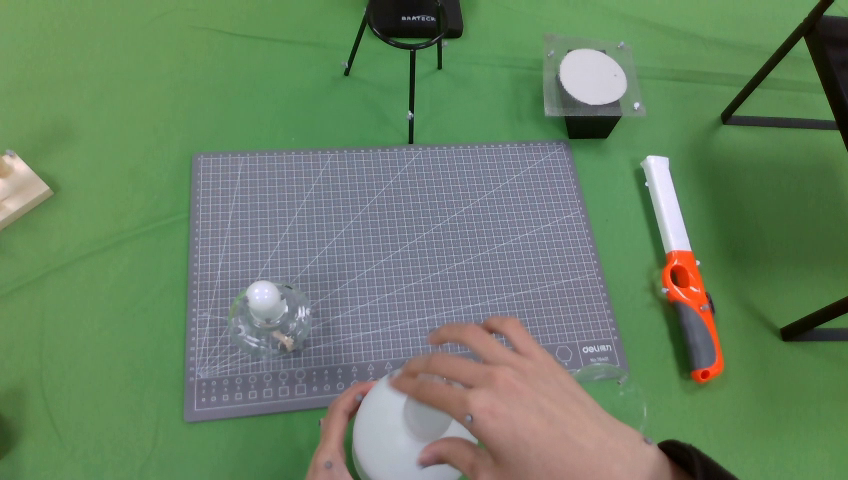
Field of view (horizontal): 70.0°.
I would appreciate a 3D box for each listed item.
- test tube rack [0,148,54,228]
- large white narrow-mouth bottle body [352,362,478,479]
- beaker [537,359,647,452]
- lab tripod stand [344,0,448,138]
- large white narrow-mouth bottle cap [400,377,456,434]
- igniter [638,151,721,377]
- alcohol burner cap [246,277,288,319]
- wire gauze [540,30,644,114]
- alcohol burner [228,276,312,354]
[{"bbox_3d":[-0.496,-0.014,0.572,0.066,0.085,0.242,41,67,12],"label":"test tube rack"},{"bbox_3d":[-0.009,0.156,0.502,0.102,0.196,0.101,3,64,-6],"label":"large white narrow-mouth bottle body"},{"bbox_3d":[0.151,0.159,0.576,0.084,0.101,0.073,27,65,6],"label":"beaker"},{"bbox_3d":[-0.023,-0.215,0.703,0.149,0.132,0.147,4,66,-8],"label":"lab tripod stand"},{"bbox_3d":[0.003,0.114,0.418,0.038,0.024,0.037,3,65,-6],"label":"large white narrow-mouth bottle cap"},{"bbox_3d":[0.292,0.020,0.698,0.057,0.025,0.274,3,65,-18],"label":"igniter"},{"bbox_3d":[-0.141,0.050,0.534,0.034,0.048,0.033,1,71,-4],"label":"alcohol burner cap"},{"bbox_3d":[0.203,-0.206,0.745,0.122,0.011,0.124,3,65,-6],"label":"wire gauze"},{"bbox_3d":[-0.145,0.064,0.567,0.078,0.120,0.077,4,63,-8],"label":"alcohol burner"}]
